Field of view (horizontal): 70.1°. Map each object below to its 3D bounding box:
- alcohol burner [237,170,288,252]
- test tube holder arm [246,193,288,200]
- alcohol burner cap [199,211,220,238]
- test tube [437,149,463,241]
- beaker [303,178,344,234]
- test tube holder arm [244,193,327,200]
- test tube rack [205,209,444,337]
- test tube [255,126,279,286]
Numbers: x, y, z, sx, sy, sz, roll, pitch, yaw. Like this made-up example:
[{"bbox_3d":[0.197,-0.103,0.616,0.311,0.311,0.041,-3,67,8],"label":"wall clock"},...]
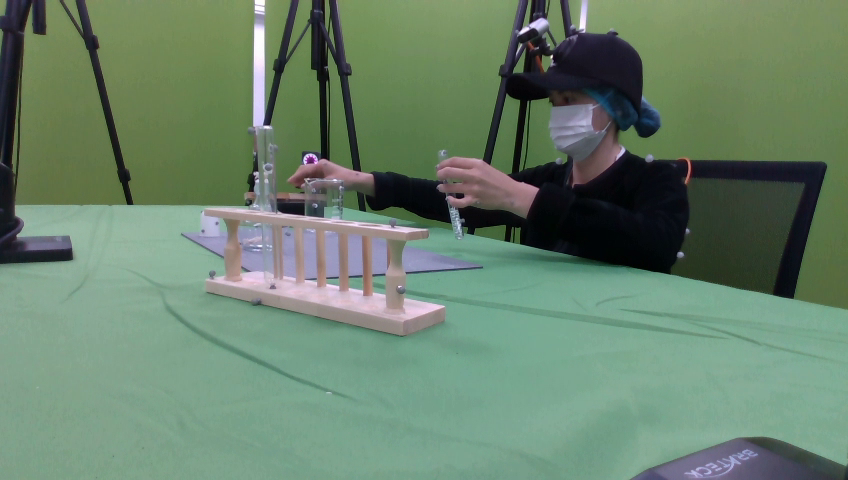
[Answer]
[{"bbox_3d":[-0.236,-0.042,0.882,0.078,0.119,0.078,2,9,0],"label":"alcohol burner"},{"bbox_3d":[-0.317,-0.088,1.226,0.088,0.015,0.010,-3,1,-37],"label":"test tube holder arm"},{"bbox_3d":[-0.356,-0.027,1.002,0.034,0.048,0.034,2,7,0],"label":"alcohol burner cap"},{"bbox_3d":[0.042,-0.072,0.964,0.017,0.150,0.017,-11,-7,-1],"label":"test tube"},{"bbox_3d":[-0.189,-0.063,1.119,0.073,0.100,0.084,6,9,28],"label":"beaker"},{"bbox_3d":[-0.285,-0.090,1.258,0.179,0.015,0.013,-3,1,-37],"label":"test tube holder arm"},{"bbox_3d":[-0.100,0.021,0.565,0.241,0.085,0.067,7,8,32],"label":"test tube rack"},{"bbox_3d":[-0.147,-0.031,0.567,0.017,0.150,0.017,-1,8,0],"label":"test tube"}]
